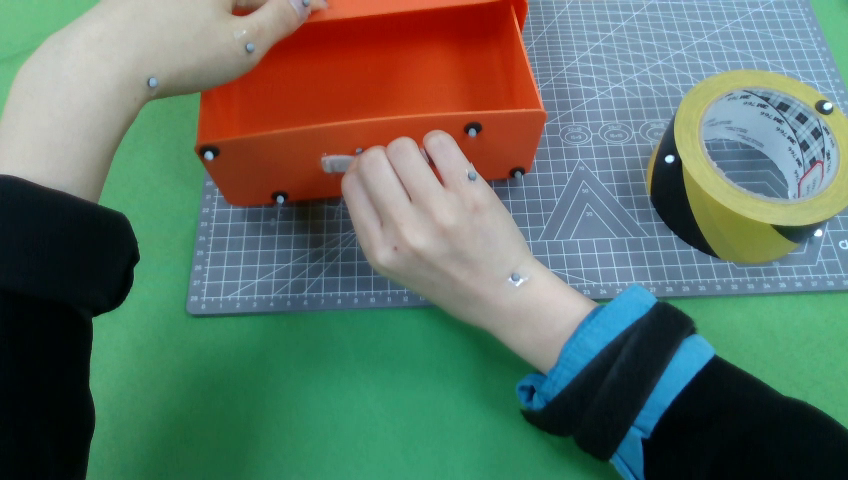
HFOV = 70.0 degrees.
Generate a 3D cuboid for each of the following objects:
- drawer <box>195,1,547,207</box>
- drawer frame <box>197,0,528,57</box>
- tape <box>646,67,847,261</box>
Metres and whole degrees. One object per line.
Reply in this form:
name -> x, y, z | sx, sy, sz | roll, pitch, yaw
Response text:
drawer -> -0.040, -0.134, 0.401 | 0.195, 0.074, 0.210 | -7, 64, -3
drawer frame -> -0.051, -0.206, 0.433 | 0.202, 0.083, 0.211 | -9, 64, -4
tape -> 0.202, -0.046, 0.376 | 0.117, 0.053, 0.116 | 0, 65, 1
